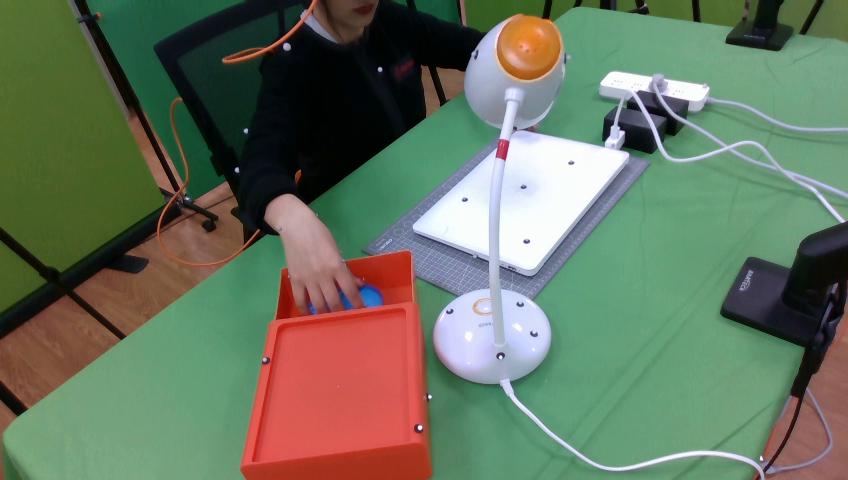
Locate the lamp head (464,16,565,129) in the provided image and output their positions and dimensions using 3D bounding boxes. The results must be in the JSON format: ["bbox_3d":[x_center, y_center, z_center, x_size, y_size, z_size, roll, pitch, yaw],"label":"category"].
[{"bbox_3d":[0.101,-0.184,0.655,0.112,0.112,0.123,-9,0,0],"label":"lamp head"}]

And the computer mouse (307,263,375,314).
[{"bbox_3d":[-0.123,0.079,0.862,0.117,0.041,0.062,-31,46,19],"label":"computer mouse"}]

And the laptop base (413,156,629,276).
[{"bbox_3d":[0.176,-0.077,1.048,0.233,0.023,0.355,19,47,34],"label":"laptop base"}]

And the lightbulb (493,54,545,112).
[{"bbox_3d":[0.110,-0.180,0.678,0.059,0.059,0.107,-10,-3,-1],"label":"lightbulb"}]

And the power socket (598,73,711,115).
[{"bbox_3d":[0.470,-0.303,1.249,0.225,0.033,0.072,20,49,30],"label":"power socket"}]

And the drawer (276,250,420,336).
[{"bbox_3d":[-0.103,0.117,0.826,0.194,0.073,0.210,-8,39,1],"label":"drawer"}]

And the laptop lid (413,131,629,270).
[{"bbox_3d":[0.172,-0.087,1.042,0.239,0.013,0.358,21,48,34],"label":"laptop lid"}]

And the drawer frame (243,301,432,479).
[{"bbox_3d":[-0.096,0.184,0.738,0.202,0.083,0.212,-8,40,1],"label":"drawer frame"}]

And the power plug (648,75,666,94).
[{"bbox_3d":[0.457,-0.301,1.212,0.073,0.053,0.035,-36,46,-28],"label":"power plug"}]

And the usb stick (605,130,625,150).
[{"bbox_3d":[0.348,-0.175,1.110,0.021,0.027,0.059,19,52,29],"label":"usb stick"}]

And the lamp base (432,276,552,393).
[{"bbox_3d":[0.085,0.075,0.756,0.161,0.181,0.178,-14,44,-6],"label":"lamp base"}]
